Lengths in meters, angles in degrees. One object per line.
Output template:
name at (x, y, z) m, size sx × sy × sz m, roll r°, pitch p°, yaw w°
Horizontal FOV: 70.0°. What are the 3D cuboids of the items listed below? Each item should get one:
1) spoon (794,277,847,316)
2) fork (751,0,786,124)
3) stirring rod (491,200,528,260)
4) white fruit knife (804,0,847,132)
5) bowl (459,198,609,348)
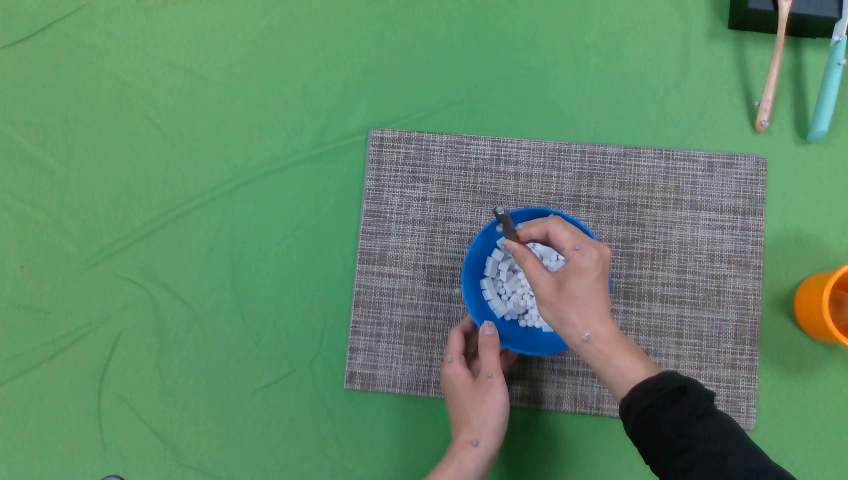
spoon at (0.472, 0.062, 0.592) m, size 0.022 × 0.192 × 0.041 m, roll 10°, pitch 85°, yaw -41°
fork at (0.379, -0.230, 0.653) m, size 0.028 × 0.018 × 0.208 m, roll 2°, pitch 105°, yaw 0°
stirring rod at (0.084, -0.006, 0.580) m, size 0.014 × 0.177 × 0.006 m, roll 17°, pitch 79°, yaw 20°
white fruit knife at (0.440, -0.220, 0.648) m, size 0.016 × 0.027 × 0.208 m, roll 6°, pitch 102°, yaw 1°
bowl at (0.112, 0.036, 0.642) m, size 0.151 × 0.077 × 0.151 m, roll 0°, pitch 85°, yaw 3°
